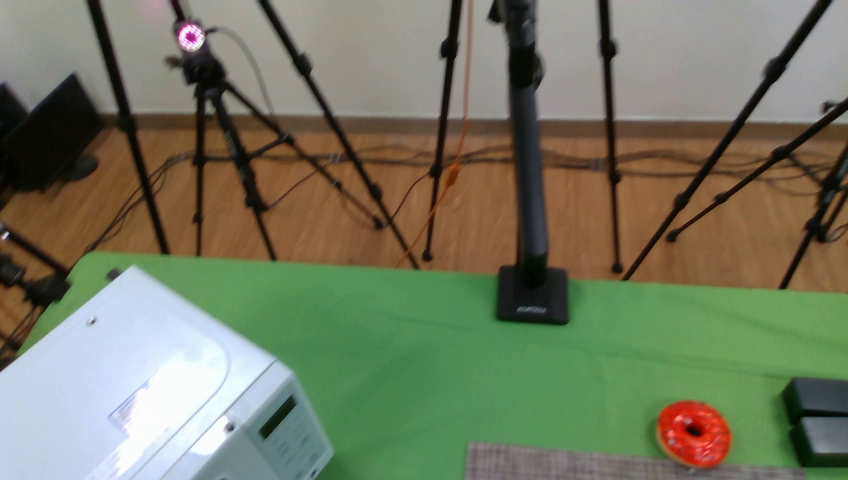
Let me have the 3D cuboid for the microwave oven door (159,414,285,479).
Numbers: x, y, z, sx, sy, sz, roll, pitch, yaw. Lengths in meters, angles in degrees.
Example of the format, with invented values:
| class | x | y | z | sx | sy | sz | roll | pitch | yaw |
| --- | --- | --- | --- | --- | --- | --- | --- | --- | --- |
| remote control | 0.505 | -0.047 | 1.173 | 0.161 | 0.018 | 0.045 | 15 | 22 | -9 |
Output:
| class | x | y | z | sx | sy | sz | roll | pitch | yaw |
| --- | --- | --- | --- | --- | --- | --- | --- | --- | --- |
| microwave oven door | -0.298 | 0.378 | 0.653 | 0.039 | 0.246 | 0.355 | 26 | 57 | 26 |

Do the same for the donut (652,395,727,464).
| class | x | y | z | sx | sy | sz | roll | pitch | yaw |
| --- | --- | --- | --- | --- | --- | --- | --- | --- | --- |
| donut | 0.366 | 0.261 | 0.836 | 0.099 | 0.049 | 0.098 | -5 | 45 | 6 |

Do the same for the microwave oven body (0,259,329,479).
| class | x | y | z | sx | sy | sz | roll | pitch | yaw |
| --- | --- | --- | --- | --- | --- | --- | --- | --- | --- |
| microwave oven body | -0.391 | 0.296 | 0.739 | 0.323 | 0.263 | 0.440 | 27 | 58 | 25 |

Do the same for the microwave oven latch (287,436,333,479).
| class | x | y | z | sx | sy | sz | roll | pitch | yaw |
| --- | --- | --- | --- | --- | --- | --- | --- | --- | --- |
| microwave oven latch | -0.160 | 0.303 | 0.837 | 0.030 | 0.030 | 0.079 | 28 | 58 | 26 |
